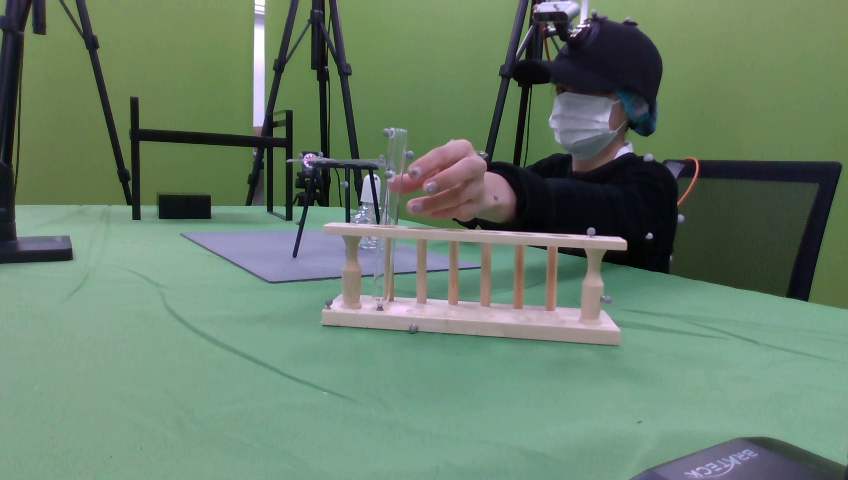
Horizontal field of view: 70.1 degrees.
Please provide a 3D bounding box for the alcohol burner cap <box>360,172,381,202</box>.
[{"bbox_3d":[-0.081,-0.084,0.949,0.034,0.048,0.034,7,7,-1],"label":"alcohol burner cap"}]

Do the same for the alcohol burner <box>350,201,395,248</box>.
[{"bbox_3d":[-0.084,-0.048,0.953,0.078,0.119,0.078,1,6,0],"label":"alcohol burner"}]

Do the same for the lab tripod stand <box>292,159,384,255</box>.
[{"bbox_3d":[-0.105,-0.039,0.797,0.148,0.131,0.148,2,5,0],"label":"lab tripod stand"}]

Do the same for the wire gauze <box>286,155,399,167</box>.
[{"bbox_3d":[-0.101,-0.105,0.788,0.121,0.011,0.125,4,6,6],"label":"wire gauze"}]

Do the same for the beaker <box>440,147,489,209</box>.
[{"bbox_3d":[0.071,-0.106,1.024,0.084,0.100,0.074,-4,10,-6],"label":"beaker"}]

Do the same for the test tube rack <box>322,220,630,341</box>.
[{"bbox_3d":[0.041,0.029,0.512,0.242,0.085,0.067,3,7,5],"label":"test tube rack"}]

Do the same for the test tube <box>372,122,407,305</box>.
[{"bbox_3d":[-0.029,-0.020,0.493,0.017,0.150,0.017,6,9,-1],"label":"test tube"}]
